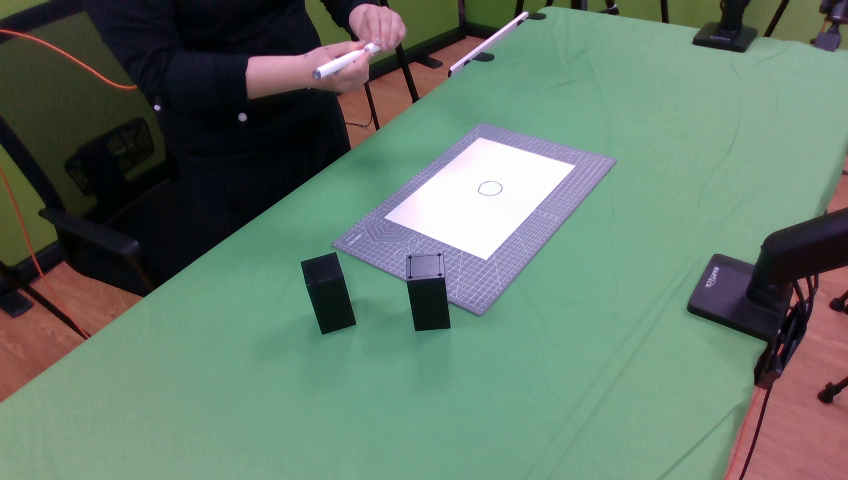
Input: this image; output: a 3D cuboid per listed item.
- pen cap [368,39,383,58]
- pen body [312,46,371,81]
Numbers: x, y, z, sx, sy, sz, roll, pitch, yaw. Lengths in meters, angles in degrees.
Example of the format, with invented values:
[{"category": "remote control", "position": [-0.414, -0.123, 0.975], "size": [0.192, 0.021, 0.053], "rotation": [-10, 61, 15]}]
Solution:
[{"category": "pen cap", "position": [-0.083, -0.316, 0.995], "size": [0.017, 0.017, 0.038], "rotation": [19, 53, 28]}, {"category": "pen body", "position": [-0.121, -0.285, 0.957], "size": [0.017, 0.017, 0.144], "rotation": [23, 46, 32]}]
